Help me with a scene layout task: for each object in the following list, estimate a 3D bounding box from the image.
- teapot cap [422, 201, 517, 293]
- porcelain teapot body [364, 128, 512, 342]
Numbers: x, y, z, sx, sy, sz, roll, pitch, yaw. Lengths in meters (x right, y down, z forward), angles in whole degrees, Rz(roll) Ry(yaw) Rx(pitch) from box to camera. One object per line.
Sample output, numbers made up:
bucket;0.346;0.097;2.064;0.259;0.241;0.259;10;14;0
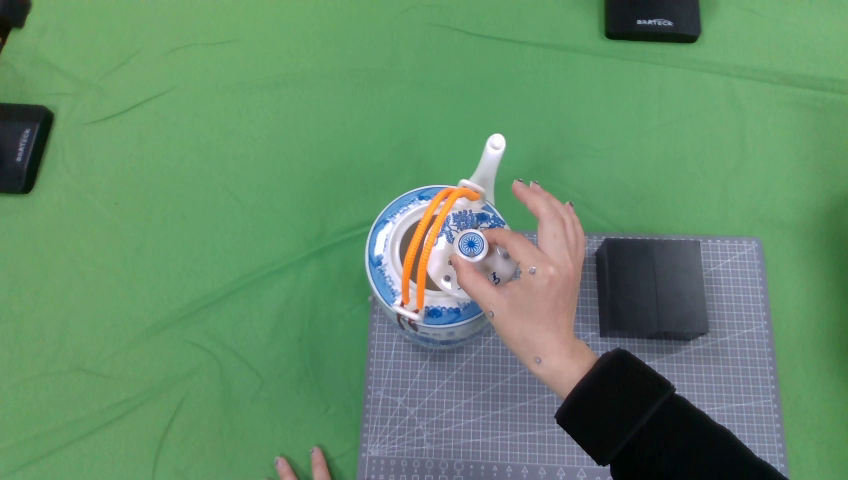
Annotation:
teapot cap;0.039;0.004;0.528;0.085;0.044;0.084;-1;72;4
porcelain teapot body;0.027;-0.010;0.601;0.145;0.226;0.204;24;75;10
